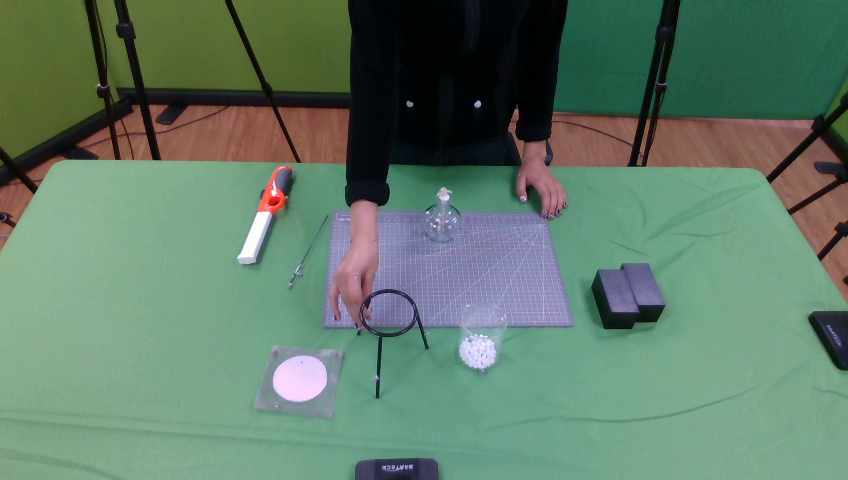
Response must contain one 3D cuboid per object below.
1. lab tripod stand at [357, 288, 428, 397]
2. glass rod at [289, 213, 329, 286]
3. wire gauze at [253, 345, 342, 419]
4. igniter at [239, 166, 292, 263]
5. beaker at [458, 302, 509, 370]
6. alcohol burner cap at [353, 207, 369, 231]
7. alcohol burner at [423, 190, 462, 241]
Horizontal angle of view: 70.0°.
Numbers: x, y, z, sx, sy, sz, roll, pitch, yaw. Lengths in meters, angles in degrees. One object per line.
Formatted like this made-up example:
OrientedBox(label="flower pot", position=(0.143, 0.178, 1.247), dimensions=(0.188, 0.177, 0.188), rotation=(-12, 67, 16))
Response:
OrientedBox(label="lab tripod stand", position=(-0.058, 0.155, 0.967), dimensions=(0.148, 0.132, 0.147), rotation=(3, 47, -3))
OrientedBox(label="glass rod", position=(-0.222, 0.014, 1.179), dimensions=(0.008, 0.008, 0.199), rotation=(12, 46, 8))
OrientedBox(label="wire gauze", position=(-0.200, 0.224, 0.978), dimensions=(0.125, 0.011, 0.121), rotation=(7, 47, 0))
OrientedBox(label="igniter", position=(-0.318, -0.060, 1.229), dimensions=(0.057, 0.025, 0.275), rotation=(-2, 45, 10))
OrientedBox(label="beaker", position=(0.092, 0.159, 0.998), dimensions=(0.083, 0.101, 0.074), rotation=(35, 53, 28))
OrientedBox(label="alcohol burner cap", position=(-0.127, -0.045, 1.215), dimensions=(0.034, 0.048, 0.033), rotation=(3, 47, -3))
OrientedBox(label="alcohol burner", position=(0.036, -0.055, 1.186), dimensions=(0.078, 0.120, 0.077), rotation=(2, 48, -1))
